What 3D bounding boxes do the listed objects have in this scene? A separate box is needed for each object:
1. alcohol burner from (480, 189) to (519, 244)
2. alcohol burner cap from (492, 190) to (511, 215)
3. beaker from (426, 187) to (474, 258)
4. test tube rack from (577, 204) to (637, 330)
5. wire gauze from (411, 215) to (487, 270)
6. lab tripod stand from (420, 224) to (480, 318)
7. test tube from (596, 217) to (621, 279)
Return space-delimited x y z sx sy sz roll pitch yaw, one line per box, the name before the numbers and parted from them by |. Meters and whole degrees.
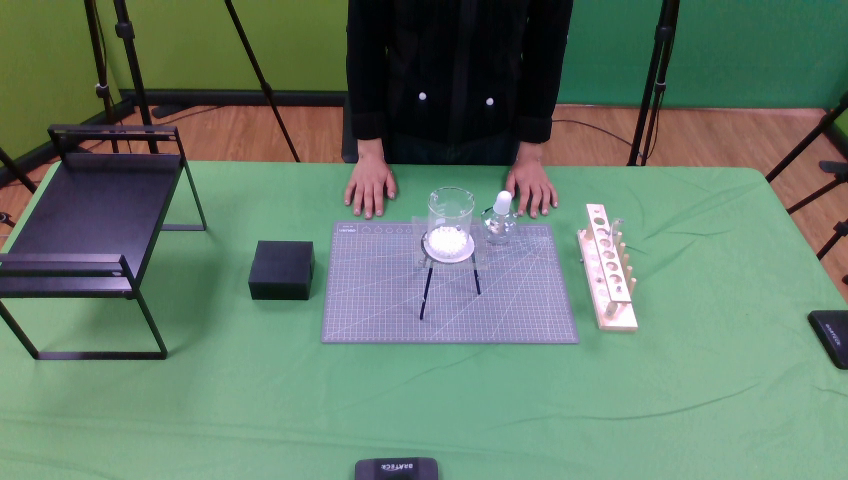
alcohol burner | 0.150 -0.050 1.191 0.078 0.120 0.077 1 46 -1
alcohol burner cap | 0.151 -0.076 1.165 0.034 0.048 0.033 5 49 -6
beaker | 0.043 -0.027 0.989 0.084 0.101 0.073 -27 53 -26
test tube rack | 0.348 0.045 1.139 0.067 0.085 0.241 2 46 -2
wire gauze | 0.041 0.003 1.026 0.125 0.011 0.120 0 46 -1
lab tripod stand | 0.034 0.051 1.071 0.148 0.132 0.147 3 48 -3
test tube | 0.331 0.018 1.094 0.017 0.151 0.017 0 45 0
